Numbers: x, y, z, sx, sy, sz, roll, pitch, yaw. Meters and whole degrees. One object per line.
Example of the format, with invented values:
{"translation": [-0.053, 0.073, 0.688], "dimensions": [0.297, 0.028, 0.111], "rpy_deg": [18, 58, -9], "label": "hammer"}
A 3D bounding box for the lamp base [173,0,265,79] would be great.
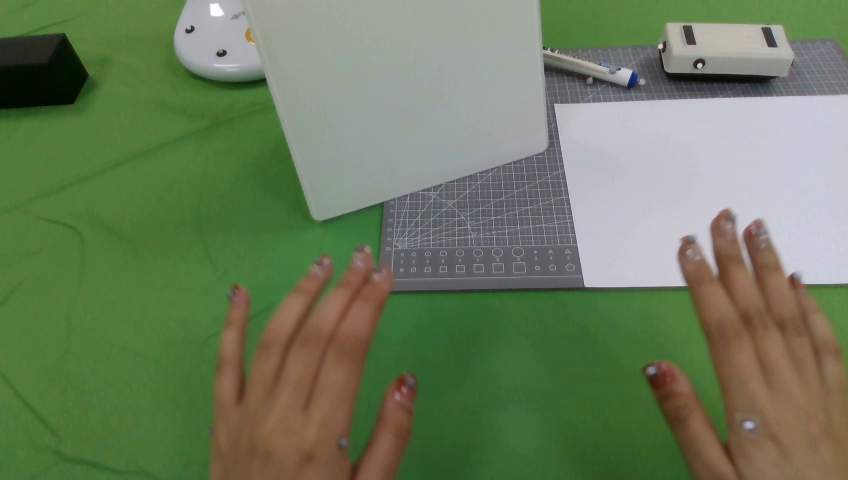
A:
{"translation": [-0.204, -0.281, 0.604], "dimensions": [0.177, 0.182, 0.160], "rpy_deg": [33, 60, 29], "label": "lamp base"}

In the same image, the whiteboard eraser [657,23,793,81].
{"translation": [0.284, -0.178, 0.578], "dimensions": [0.112, 0.042, 0.055], "rpy_deg": [2, 50, 6], "label": "whiteboard eraser"}

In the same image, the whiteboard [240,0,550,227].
{"translation": [-0.035, -0.202, 0.489], "dimensions": [0.217, 0.308, 0.142], "rpy_deg": [-18, 33, -9], "label": "whiteboard"}

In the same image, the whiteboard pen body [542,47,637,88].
{"translation": [0.139, -0.176, 0.597], "dimensions": [0.140, 0.017, 0.017], "rpy_deg": [21, 56, 15], "label": "whiteboard pen body"}

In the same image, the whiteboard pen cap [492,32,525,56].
{"translation": [0.086, -0.198, 0.613], "dimensions": [0.033, 0.018, 0.018], "rpy_deg": [20, 56, 13], "label": "whiteboard pen cap"}
